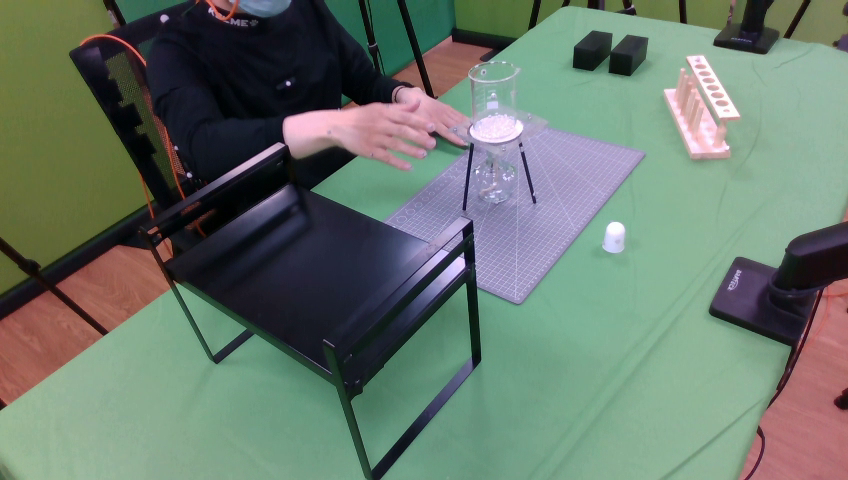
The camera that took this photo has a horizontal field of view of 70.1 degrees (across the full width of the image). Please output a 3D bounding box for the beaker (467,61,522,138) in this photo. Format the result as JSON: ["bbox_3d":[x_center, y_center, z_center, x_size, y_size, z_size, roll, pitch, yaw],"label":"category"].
[{"bbox_3d":[0.112,-0.217,0.941,0.084,0.101,0.073,-13,39,-7],"label":"beaker"}]

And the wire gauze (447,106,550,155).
[{"bbox_3d":[0.119,-0.182,0.974,0.122,0.011,0.124,-32,42,-29],"label":"wire gauze"}]

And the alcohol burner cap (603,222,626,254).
[{"bbox_3d":[0.291,-0.006,0.921,0.034,0.048,0.033,-4,40,4],"label":"alcohol burner cap"}]

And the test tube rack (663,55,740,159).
[{"bbox_3d":[0.518,-0.256,1.144,0.066,0.085,0.241,-1,41,8],"label":"test tube rack"}]

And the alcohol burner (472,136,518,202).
[{"bbox_3d":[0.121,-0.124,1.023,0.078,0.119,0.077,-3,42,3],"label":"alcohol burner"}]

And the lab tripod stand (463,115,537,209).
[{"bbox_3d":[0.120,-0.134,1.018,0.148,0.132,0.147,-5,39,5],"label":"lab tripod stand"}]
